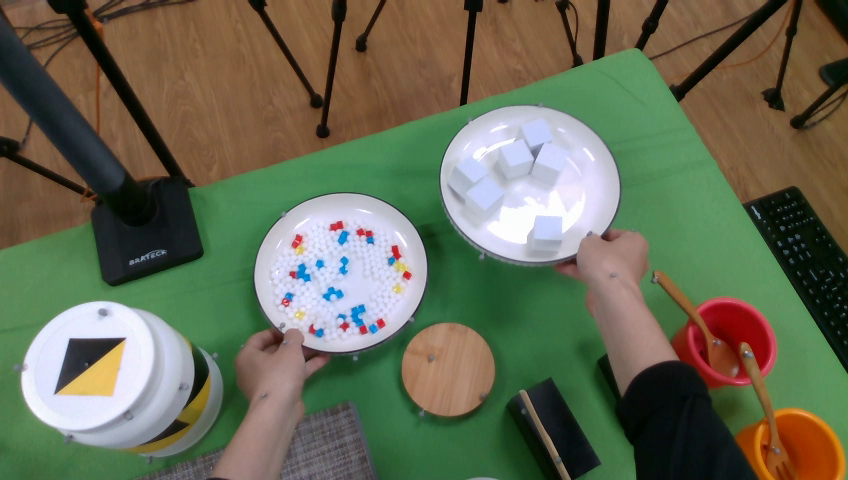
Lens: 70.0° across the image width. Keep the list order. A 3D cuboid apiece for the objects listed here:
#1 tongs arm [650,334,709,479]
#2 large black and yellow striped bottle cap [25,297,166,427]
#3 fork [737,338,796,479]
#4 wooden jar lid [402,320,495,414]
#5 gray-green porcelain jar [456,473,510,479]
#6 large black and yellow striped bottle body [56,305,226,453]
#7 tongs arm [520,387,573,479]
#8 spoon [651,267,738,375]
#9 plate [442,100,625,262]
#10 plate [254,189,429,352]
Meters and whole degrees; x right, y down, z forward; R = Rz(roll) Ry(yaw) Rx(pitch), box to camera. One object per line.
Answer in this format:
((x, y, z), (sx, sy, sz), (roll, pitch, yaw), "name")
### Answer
((0.283, 0.287, 0.612), (0.028, 0.028, 0.385), (-9, 78, -12), "tongs arm")
((-0.290, 0.107, 0.537), (0.115, 0.019, 0.114), (1, 69, -1), "large black and yellow striped bottle cap")
((0.353, 0.181, 0.625), (0.028, 0.018, 0.209), (-30, 115, -4), "fork")
((0.028, 0.147, 0.705), (0.108, 0.021, 0.107), (0, 69, -1), "wooden jar lid")
((0.054, 0.285, 0.590), (0.106, 0.127, 0.105), (0, 67, 0), "gray-green porcelain jar")
((-0.291, 0.141, 0.614), (0.131, 0.185, 0.130), (0, 67, 0), "large black and yellow striped bottle body")
((0.204, 0.314, 0.599), (0.051, 0.026, 0.383), (-23, 80, -12), "tongs arm")
((0.300, 0.088, 0.666), (0.195, 0.021, 0.041), (46, 68, -30), "spoon")
((0.124, -0.067, 0.703), (0.208, 0.039, 0.206), (0, 67, -1), "plate")
((-0.098, 0.036, 0.736), (0.209, 0.038, 0.207), (1, 67, -2), "plate")
